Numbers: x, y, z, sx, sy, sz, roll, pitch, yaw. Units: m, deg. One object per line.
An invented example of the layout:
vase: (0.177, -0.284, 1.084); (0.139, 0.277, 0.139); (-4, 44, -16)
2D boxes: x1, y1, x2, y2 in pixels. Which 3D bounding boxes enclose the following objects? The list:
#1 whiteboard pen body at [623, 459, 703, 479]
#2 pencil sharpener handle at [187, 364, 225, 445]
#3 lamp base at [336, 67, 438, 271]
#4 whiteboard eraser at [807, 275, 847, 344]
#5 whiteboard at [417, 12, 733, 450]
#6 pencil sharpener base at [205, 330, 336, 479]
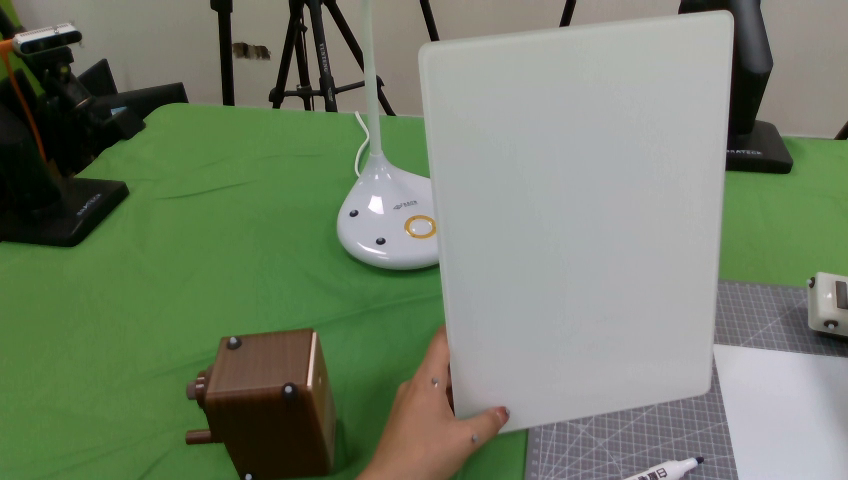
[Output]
whiteboard pen body: (0.142, 0.182, 0.437); (0.141, 0.017, 0.017); (-13, 39, -14)
pencil sharpener handle: (-0.163, 0.123, 0.441); (0.030, 0.068, 0.035); (-5, 26, -2)
lamp base: (-0.032, -0.085, 0.656); (0.161, 0.182, 0.177); (-26, 42, -27)
whiteboard eraser: (0.406, 0.069, 0.538); (0.112, 0.042, 0.055); (11, 56, 17)
whiteboard: (0.109, -0.014, 0.504); (0.217, 0.307, 0.143); (-8, 19, -6)
pencil sharpener base: (-0.111, 0.126, 0.453); (0.077, 0.108, 0.060); (-5, 39, -2)
